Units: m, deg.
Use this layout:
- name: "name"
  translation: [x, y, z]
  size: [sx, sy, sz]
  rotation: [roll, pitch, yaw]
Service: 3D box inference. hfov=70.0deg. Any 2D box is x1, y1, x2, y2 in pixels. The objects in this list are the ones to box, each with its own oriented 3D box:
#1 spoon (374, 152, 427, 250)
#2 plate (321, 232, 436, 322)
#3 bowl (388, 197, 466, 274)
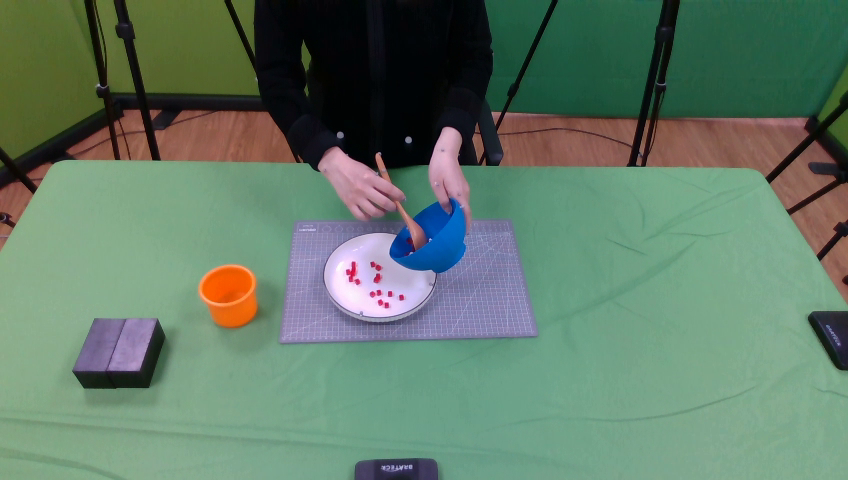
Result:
- name: "spoon"
  translation: [-0.042, -0.060, 1.028]
  size: [0.021, 0.194, 0.041]
  rotation: [-18, 18, 37]
- name: "plate"
  translation: [-0.083, 0.070, 1.109]
  size: [0.209, 0.038, 0.208]
  rotation: [3, 46, -2]
- name: "bowl"
  translation: [0.019, 0.005, 1.044]
  size: [0.151, 0.077, 0.150]
  rotation: [-35, 21, 16]
